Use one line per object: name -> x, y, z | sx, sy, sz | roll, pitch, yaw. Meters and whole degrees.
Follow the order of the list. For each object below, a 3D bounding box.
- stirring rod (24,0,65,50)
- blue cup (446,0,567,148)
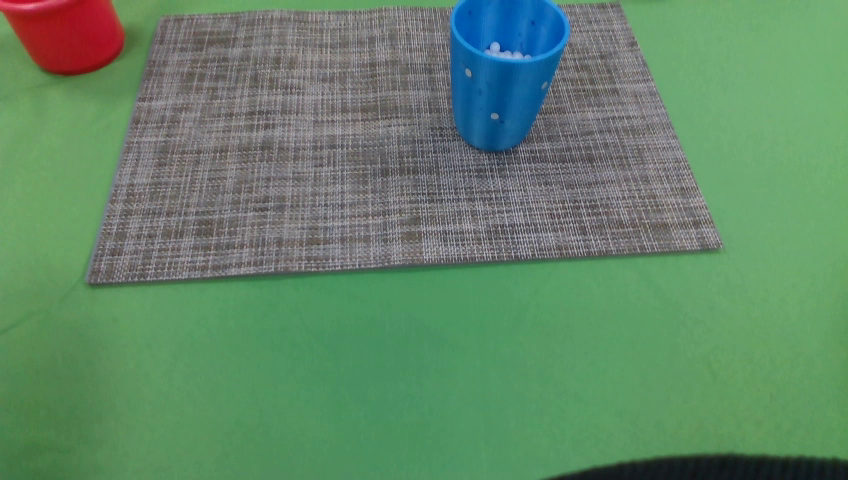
stirring rod -> -0.291, -0.226, 0.508 | 0.176, 0.006, 0.014 | -41, 61, 20
blue cup -> 0.056, -0.126, 0.465 | 0.093, 0.101, 0.092 | 2, 55, -2
